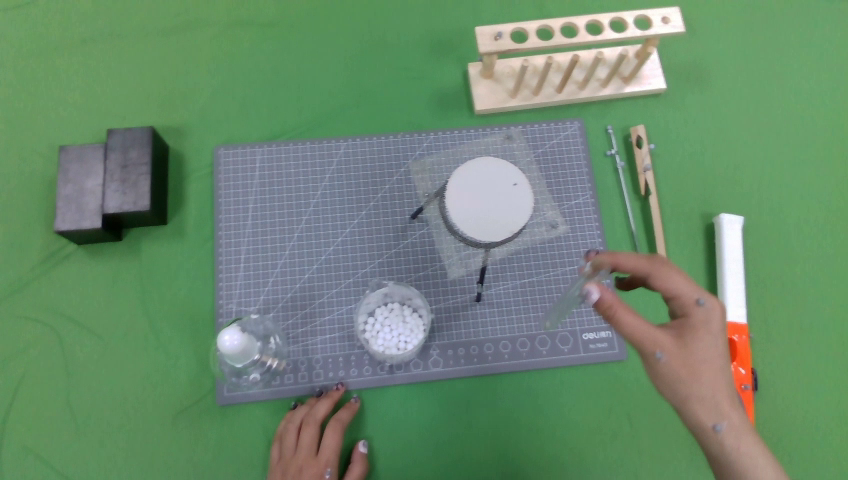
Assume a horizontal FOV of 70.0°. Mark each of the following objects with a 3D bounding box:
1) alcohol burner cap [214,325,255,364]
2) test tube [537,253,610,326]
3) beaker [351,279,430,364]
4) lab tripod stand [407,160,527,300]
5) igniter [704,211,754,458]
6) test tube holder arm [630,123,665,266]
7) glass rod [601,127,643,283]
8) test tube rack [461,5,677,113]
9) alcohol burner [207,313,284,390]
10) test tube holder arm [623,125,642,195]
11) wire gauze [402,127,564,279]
[{"bbox_3d":[-0.181,0.097,0.572,0.034,0.048,0.033,1,65,-2],"label":"alcohol burner cap"},{"bbox_3d":[0.117,0.045,0.491,0.017,0.151,0.017,2,67,-4],"label":"test tube"},{"bbox_3d":[-0.036,0.087,0.627,0.074,0.101,0.083,-27,76,-10],"label":"beaker"},{"bbox_3d":[0.049,-0.019,0.642,0.148,0.132,0.147,0,75,-1],"label":"lab tripod stand"},{"bbox_3d":[0.341,0.101,0.682,0.057,0.025,0.275,8,74,-11],"label":"igniter"},{"bbox_3d":[0.266,-0.056,0.724,0.013,0.015,0.177,-15,73,28],"label":"test tube holder arm"},{"bbox_3d":[0.236,-0.045,0.726,0.008,0.008,0.198,-7,74,-5],"label":"glass rod"},{"bbox_3d":[0.172,-0.216,0.731,0.242,0.085,0.066,-8,74,-5],"label":"test tube rack"},{"bbox_3d":[-0.182,0.109,0.606,0.078,0.120,0.077,1,72,-1],"label":"alcohol burner"},{"bbox_3d":[0.257,-0.098,0.738,0.010,0.015,0.087,-15,73,28],"label":"test tube holder arm"},{"bbox_3d":[0.055,-0.040,0.579,0.121,0.011,0.124,-20,76,-7],"label":"wire gauze"}]
